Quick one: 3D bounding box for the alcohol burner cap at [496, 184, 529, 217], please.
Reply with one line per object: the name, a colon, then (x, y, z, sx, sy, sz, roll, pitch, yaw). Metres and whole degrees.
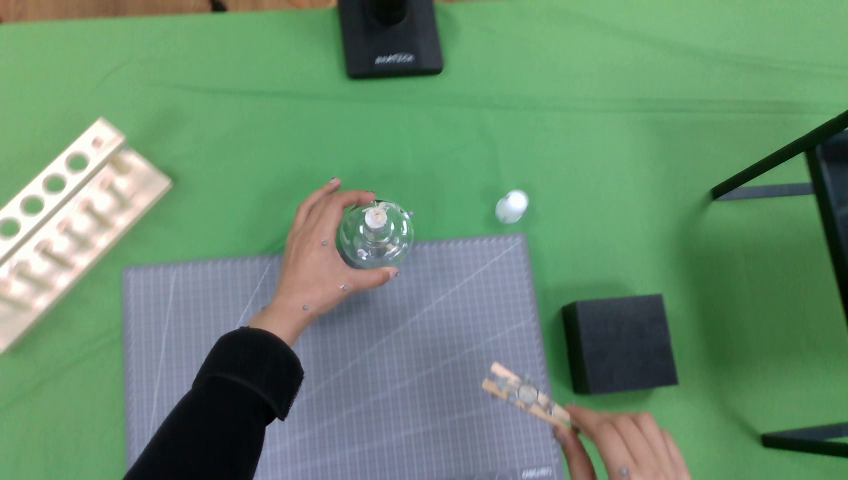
alcohol burner cap: (0.105, -0.048, 0.704, 0.034, 0.048, 0.033, 2, 77, -7)

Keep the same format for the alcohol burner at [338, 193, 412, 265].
alcohol burner: (-0.050, -0.016, 0.619, 0.078, 0.119, 0.077, 1, 76, -5)

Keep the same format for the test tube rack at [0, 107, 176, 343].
test tube rack: (-0.375, -0.013, 0.612, 0.066, 0.085, 0.242, 39, 76, 3)

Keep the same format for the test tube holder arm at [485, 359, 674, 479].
test tube holder arm: (0.128, 0.152, 0.504, 0.178, 0.015, 0.013, 31, 86, 5)

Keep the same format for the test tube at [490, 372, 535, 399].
test tube: (0.069, 0.117, 0.494, 0.017, 0.150, 0.017, 0, 79, -1)

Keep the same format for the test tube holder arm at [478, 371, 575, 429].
test tube holder arm: (0.087, 0.134, 0.508, 0.087, 0.015, 0.010, 25, 85, 5)
